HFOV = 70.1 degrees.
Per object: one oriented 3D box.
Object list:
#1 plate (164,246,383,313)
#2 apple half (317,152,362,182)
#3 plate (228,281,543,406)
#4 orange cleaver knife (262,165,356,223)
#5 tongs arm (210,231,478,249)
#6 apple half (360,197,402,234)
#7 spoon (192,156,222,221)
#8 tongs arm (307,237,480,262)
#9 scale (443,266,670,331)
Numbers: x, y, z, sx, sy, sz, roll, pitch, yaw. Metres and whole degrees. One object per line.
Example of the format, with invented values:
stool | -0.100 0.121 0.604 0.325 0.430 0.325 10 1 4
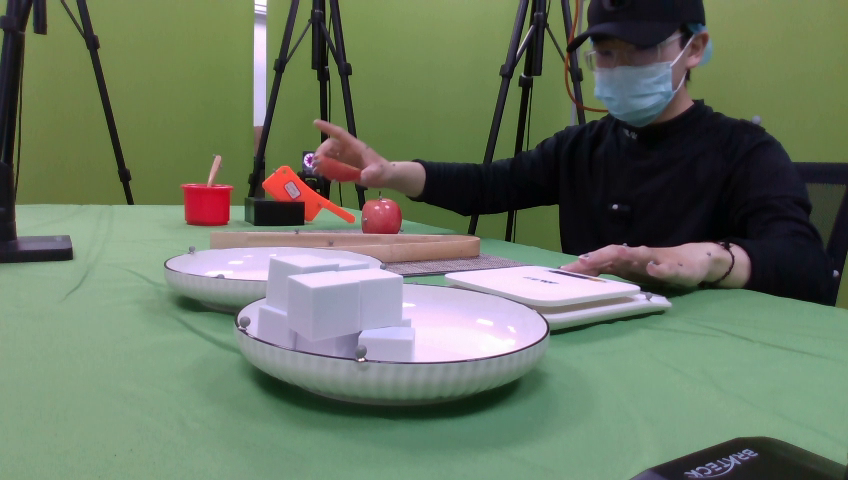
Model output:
plate | -0.145 0.038 0.600 0.209 0.038 0.209 2 7 0
apple half | -0.138 -0.109 0.955 0.081 0.033 0.081 24 -1 1
plate | -0.025 0.067 0.413 0.208 0.039 0.207 3 7 0
orange cleaver knife | -0.243 -0.081 1.292 0.212 0.077 0.012 34 -8 -26
tongs arm | -0.106 0.004 0.876 0.386 0.026 0.050 0 6 -20
apple half | -0.066 -0.033 1.014 0.053 0.074 0.081 10 6 21
spoon | -0.430 -0.108 1.222 0.041 0.021 0.193 -1 52 0
tongs arm | -0.070 0.016 0.800 0.390 0.028 0.028 -2 4 -34
scale | 0.131 0.052 0.603 0.202 0.031 0.148 -2 9 -37
